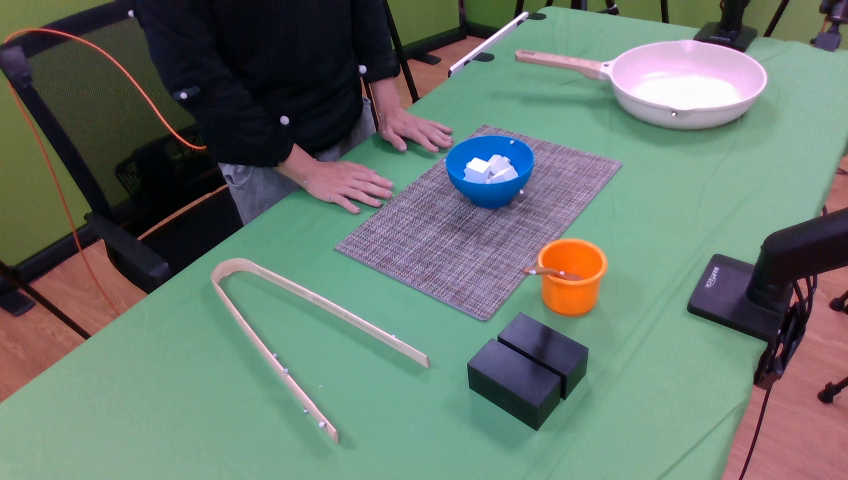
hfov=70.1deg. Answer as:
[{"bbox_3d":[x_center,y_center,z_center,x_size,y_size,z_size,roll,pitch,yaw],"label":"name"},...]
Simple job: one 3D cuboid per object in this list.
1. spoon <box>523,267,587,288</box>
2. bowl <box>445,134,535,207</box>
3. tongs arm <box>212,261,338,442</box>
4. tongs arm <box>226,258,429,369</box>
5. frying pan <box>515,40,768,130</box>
[{"bbox_3d":[0.170,0.046,0.793,0.041,0.195,0.021,20,91,33],"label":"spoon"},{"bbox_3d":[0.113,-0.109,1.029,0.151,0.077,0.150,-4,40,4],"label":"bowl"},{"bbox_3d":[-0.208,0.136,0.830,0.051,0.026,0.381,-31,45,-28],"label":"tongs arm"},{"bbox_3d":[-0.150,0.098,0.873,0.384,0.028,0.028,22,50,30],"label":"tongs arm"},{"bbox_3d":[0.423,-0.337,1.236,0.486,0.103,0.307,16,44,13],"label":"frying pan"}]
